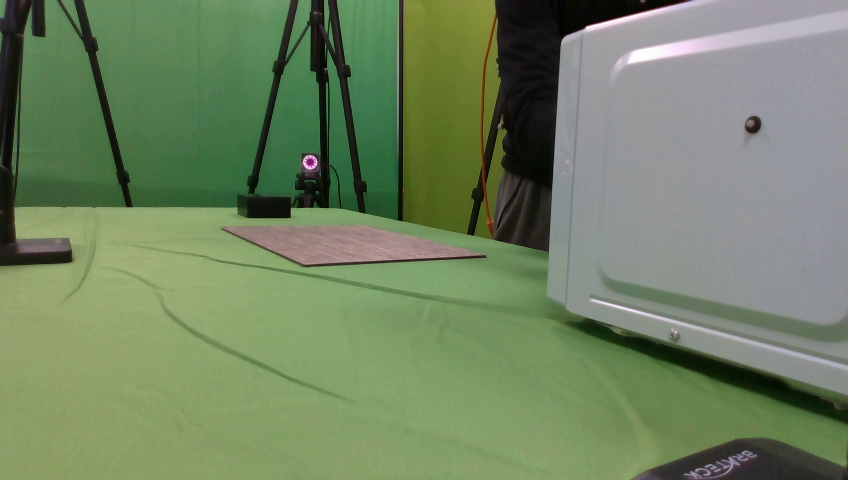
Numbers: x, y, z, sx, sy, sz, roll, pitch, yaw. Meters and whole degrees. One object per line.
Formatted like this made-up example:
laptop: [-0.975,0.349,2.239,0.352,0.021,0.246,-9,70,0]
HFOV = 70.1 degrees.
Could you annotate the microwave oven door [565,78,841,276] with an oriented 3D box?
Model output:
microwave oven door: [0.368,-0.093,0.858,0.354,0.243,0.039,8,9,44]

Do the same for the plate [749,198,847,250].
plate: [0.414,-0.013,0.557,0.209,0.038,0.209,3,7,0]

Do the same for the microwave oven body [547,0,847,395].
microwave oven body: [0.379,-0.046,0.510,0.444,0.260,0.324,-2,7,-31]

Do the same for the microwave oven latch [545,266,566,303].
microwave oven latch: [0.148,0.039,0.555,0.079,0.029,0.030,-1,7,-28]
